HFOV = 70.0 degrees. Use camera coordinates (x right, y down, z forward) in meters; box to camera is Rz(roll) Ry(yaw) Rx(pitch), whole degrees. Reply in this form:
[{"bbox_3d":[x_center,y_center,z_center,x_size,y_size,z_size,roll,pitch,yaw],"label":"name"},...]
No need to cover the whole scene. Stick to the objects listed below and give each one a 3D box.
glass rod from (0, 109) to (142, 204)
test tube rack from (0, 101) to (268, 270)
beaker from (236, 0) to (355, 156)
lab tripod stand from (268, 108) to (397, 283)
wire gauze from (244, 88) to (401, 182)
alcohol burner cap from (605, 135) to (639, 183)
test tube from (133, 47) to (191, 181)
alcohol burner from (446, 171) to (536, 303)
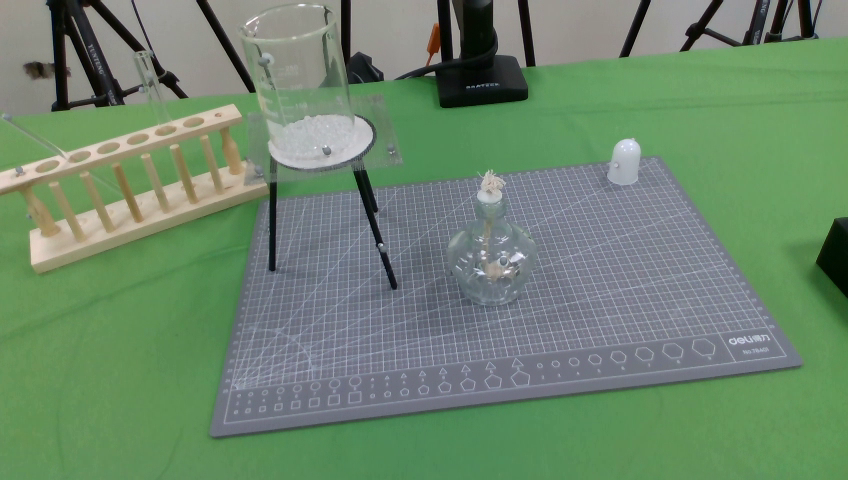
[{"bbox_3d":[-0.361,-0.089,0.593,0.008,0.202,0.008,-19,50,25],"label":"glass rod"},{"bbox_3d":[-0.300,-0.062,0.640,0.243,0.086,0.066,-22,43,-19],"label":"test tube rack"},{"bbox_3d":[-0.098,-0.124,0.472,0.083,0.101,0.073,14,44,23],"label":"beaker"},{"bbox_3d":[-0.083,-0.039,0.548,0.148,0.133,0.147,-3,43,4],"label":"lab tripod stand"},{"bbox_3d":[-0.088,-0.088,0.505,0.125,0.011,0.120,-12,39,-3],"label":"wire gauze"},{"bbox_3d":[0.211,-0.089,0.644,0.034,0.048,0.033,-3,41,3],"label":"alcohol burner cap"},{"bbox_3d":[-0.273,-0.127,0.636,0.017,0.151,0.017,-3,38,2],"label":"test tube"},{"bbox_3d":[0.056,-0.005,0.509,0.078,0.120,0.077,-3,39,3],"label":"alcohol burner"}]
